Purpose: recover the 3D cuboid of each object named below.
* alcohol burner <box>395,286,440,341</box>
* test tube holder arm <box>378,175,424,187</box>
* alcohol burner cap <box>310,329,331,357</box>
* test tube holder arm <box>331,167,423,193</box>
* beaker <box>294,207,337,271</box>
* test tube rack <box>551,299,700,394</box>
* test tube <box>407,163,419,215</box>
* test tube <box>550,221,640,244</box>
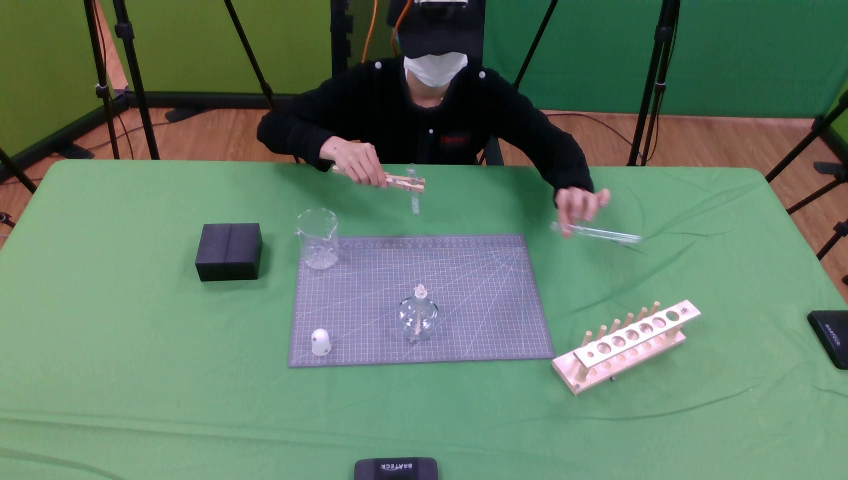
[{"bbox_3d":[-0.010,0.116,1.018,0.078,0.119,0.077,3,47,-3],"label":"alcohol burner"},{"bbox_3d":[-0.044,-0.110,1.135,0.088,0.015,0.010,6,51,2],"label":"test tube holder arm"},{"bbox_3d":[-0.173,0.168,1.004,0.034,0.048,0.033,2,46,-2],"label":"alcohol burner cap"},{"bbox_3d":[-0.089,-0.113,1.136,0.178,0.015,0.013,11,51,6],"label":"test tube holder arm"},{"bbox_3d":[-0.196,0.003,1.123,0.074,0.101,0.083,-23,53,-24],"label":"beaker"},{"bbox_3d":[0.339,0.166,1.021,0.242,0.085,0.066,-19,50,-21],"label":"test tube rack"},{"bbox_3d":[-0.020,-0.093,1.148,0.017,0.151,0.017,-1,58,2],"label":"test tube"},{"bbox_3d":[0.282,-0.013,1.002,0.150,0.017,0.017,9,46,0],"label":"test tube"}]
